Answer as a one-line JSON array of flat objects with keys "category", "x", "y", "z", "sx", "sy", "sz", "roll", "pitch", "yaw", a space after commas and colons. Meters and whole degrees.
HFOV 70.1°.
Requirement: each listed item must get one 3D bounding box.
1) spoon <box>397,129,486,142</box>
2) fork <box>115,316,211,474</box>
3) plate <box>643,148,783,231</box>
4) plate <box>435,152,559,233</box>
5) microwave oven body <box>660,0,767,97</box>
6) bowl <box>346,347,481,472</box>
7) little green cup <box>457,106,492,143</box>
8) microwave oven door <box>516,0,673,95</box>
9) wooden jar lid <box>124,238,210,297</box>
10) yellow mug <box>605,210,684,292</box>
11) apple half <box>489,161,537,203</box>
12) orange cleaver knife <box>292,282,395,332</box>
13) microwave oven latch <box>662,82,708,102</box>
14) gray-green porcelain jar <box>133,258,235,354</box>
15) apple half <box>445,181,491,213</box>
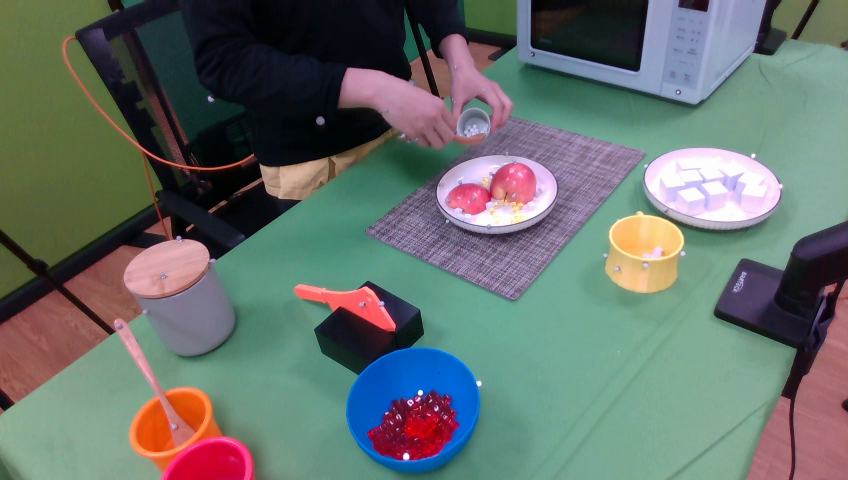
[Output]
[{"category": "spoon", "x": 0.030, "y": -0.172, "z": 0.981, "sx": 0.195, "sy": 0.021, "sz": 0.041, "roll": -5, "pitch": 9, "yaw": -43}, {"category": "fork", "x": -0.308, "y": 0.179, "z": 0.708, "sx": 0.028, "sy": 0.018, "sz": 0.207, "roll": -30, "pitch": 89, "yaw": -21}, {"category": "plate", "x": 0.464, "y": -0.080, "z": 0.986, "sx": 0.207, "sy": 0.039, "sz": 0.206, "roll": -4, "pitch": 41, "yaw": 4}, {"category": "plate", "x": 0.124, "y": -0.078, "z": 1.026, "sx": 0.209, "sy": 0.038, "sz": 0.208, "roll": -4, "pitch": 40, "yaw": 4}, {"category": "microwave oven body", "x": 0.474, "y": -0.516, "z": 1.313, "sx": 0.438, "sy": 0.261, "sz": 0.327, "roll": 26, "pitch": 51, "yaw": 34}, {"category": "bowl", "x": -0.008, "y": 0.205, "z": 0.691, "sx": 0.151, "sy": 0.077, "sz": 0.150, "roll": -4, "pitch": 40, "yaw": 4}, {"category": "little green cup", "x": 0.089, "y": -0.199, "z": 1.059, "sx": 0.061, "sy": 0.039, "sz": 0.061, "roll": -1, "pitch": 84, "yaw": 7}, {"category": "microwave oven door", "x": 0.344, "y": -0.458, "z": 1.257, "sx": 0.353, "sy": 0.245, "sz": 0.039, "roll": 26, "pitch": 51, "yaw": 33}, {"category": "wooden jar lid", "x": -0.335, "y": 0.038, "z": 0.794, "sx": 0.108, "sy": 0.021, "sz": 0.108, "roll": -2, "pitch": 40, "yaw": 2}, {"category": "yellow mug", "x": 0.318, "y": 0.007, "z": 0.883, "sx": 0.100, "sy": 0.064, "sz": 0.130, "roll": 0, "pitch": 41, "yaw": 8}, {"category": "apple half", "x": 0.154, "y": -0.106, "z": 1.030, "sx": 0.080, "sy": 0.053, "sz": 0.075, "roll": 22, "pitch": 46, "yaw": 31}, {"category": "orange cleaver knife", "x": -0.116, "y": 0.091, "z": 0.835, "sx": 0.209, "sy": 0.077, "sz": 0.012, "roll": 2, "pitch": 32, "yaw": 48}, {"category": "microwave oven latch", "x": 0.518, "y": -0.298, "z": 1.202, "sx": 0.078, "sy": 0.029, "sz": 0.030, "roll": 28, "pitch": 53, "yaw": 35}, {"category": "gray-green porcelain jar", "x": -0.327, "y": 0.086, "z": 0.836, "sx": 0.106, "sy": 0.127, "sz": 0.105, "roll": -4, "pitch": 41, "yaw": 4}, {"category": "apple half", "x": 0.076, "y": -0.083, "z": 1.029, "sx": 0.081, "sy": 0.033, "sz": 0.081, "roll": -2, "pitch": 42, "yaw": 2}]
